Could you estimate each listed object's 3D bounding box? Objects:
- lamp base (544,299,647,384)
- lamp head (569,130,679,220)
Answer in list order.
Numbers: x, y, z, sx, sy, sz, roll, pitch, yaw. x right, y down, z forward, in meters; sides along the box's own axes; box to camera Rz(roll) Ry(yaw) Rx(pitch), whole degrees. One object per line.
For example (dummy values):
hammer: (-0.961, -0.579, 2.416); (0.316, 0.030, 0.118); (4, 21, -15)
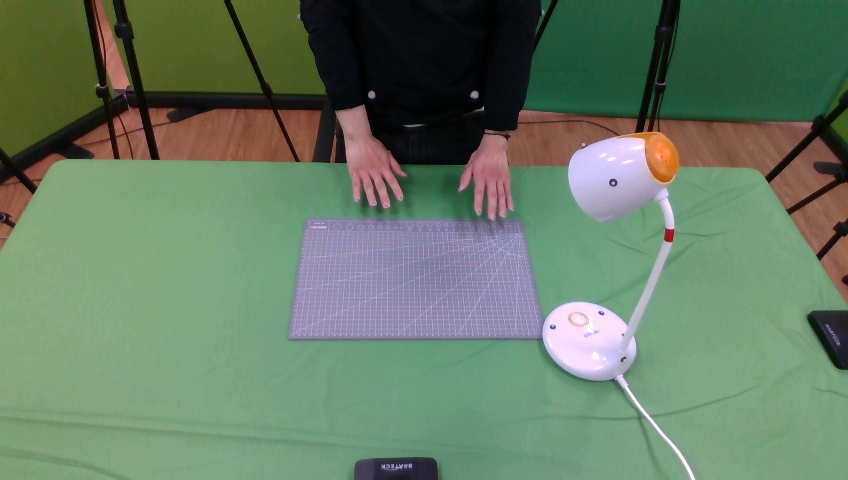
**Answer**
lamp base: (0.299, 0.124, 0.984); (0.161, 0.181, 0.178); (-23, 55, -23)
lamp head: (0.272, -0.090, 0.798); (0.113, 0.122, 0.112); (7, 78, -33)
